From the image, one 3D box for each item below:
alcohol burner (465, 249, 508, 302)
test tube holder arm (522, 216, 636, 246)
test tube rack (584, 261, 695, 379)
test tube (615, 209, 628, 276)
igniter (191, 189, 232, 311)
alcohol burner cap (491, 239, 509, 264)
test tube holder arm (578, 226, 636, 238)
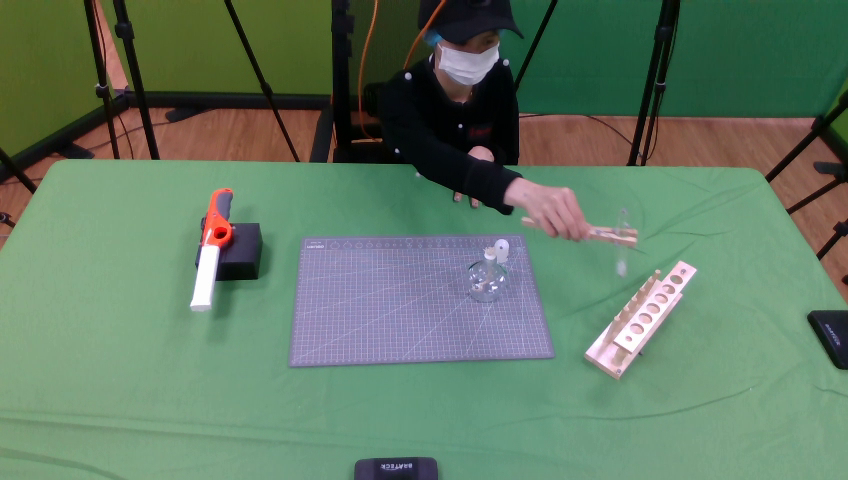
[{"bbox_3d":[0.114,0.057,1.085,0.078,0.120,0.077,2,48,-2],"label":"alcohol burner"},{"bbox_3d":[0.242,-0.015,0.958,0.178,0.015,0.013,11,54,20],"label":"test tube holder arm"},{"bbox_3d":[0.380,0.127,1.062,0.066,0.085,0.242,34,53,26],"label":"test tube rack"},{"bbox_3d":[0.310,0.007,0.953,0.017,0.151,0.017,-8,48,9],"label":"test tube"},{"bbox_3d":[-0.381,0.008,1.092,0.057,0.025,0.274,-1,50,-7],"label":"igniter"},{"bbox_3d":[0.150,0.020,1.174,0.034,0.048,0.033,2,46,-2],"label":"alcohol burner cap"},{"bbox_3d":[0.286,-0.013,0.947,0.087,0.015,0.010,4,53,15],"label":"test tube holder arm"}]
